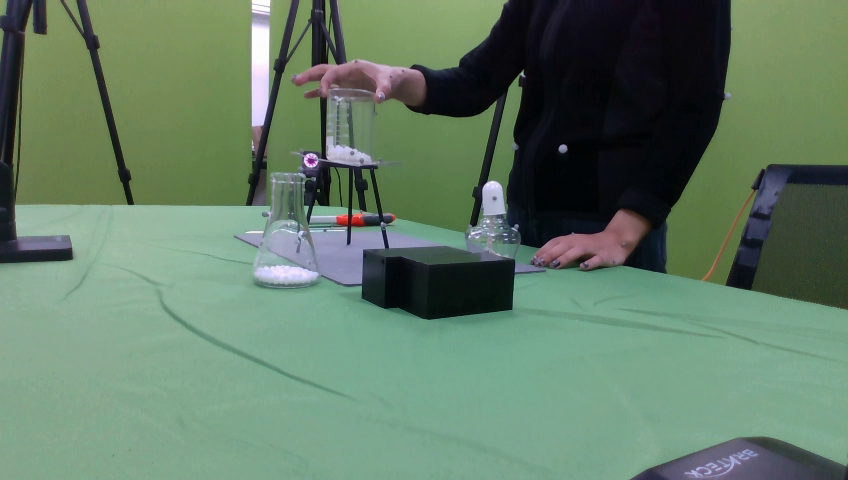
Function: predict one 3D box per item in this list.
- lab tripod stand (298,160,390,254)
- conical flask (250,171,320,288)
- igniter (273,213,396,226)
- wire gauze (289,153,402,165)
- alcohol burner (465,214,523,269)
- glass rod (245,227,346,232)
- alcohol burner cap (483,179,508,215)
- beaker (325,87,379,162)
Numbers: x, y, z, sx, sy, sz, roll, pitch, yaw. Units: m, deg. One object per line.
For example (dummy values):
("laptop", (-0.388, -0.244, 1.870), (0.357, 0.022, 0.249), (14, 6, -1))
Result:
("lab tripod stand", (-0.111, -0.050, 0.893), (0.148, 0.131, 0.148), (4, 7, 0))
("conical flask", (-0.150, -0.013, 0.658), (0.075, 0.122, 0.075), (2, 7, 0))
("igniter", (-0.179, -0.044, 1.258), (0.278, 0.025, 0.057), (-3, -1, -39))
("wire gauze", (-0.113, -0.116, 0.884), (0.124, 0.011, 0.122), (7, 7, 28))
("alcohol burner", (0.094, -0.022, 0.815), (0.078, 0.119, 0.078), (0, 7, 0))
("glass rod", (-0.236, -0.021, 1.140), (0.201, 0.008, 0.008), (-2, 8, -33))
("alcohol burner cap", (0.093, -0.057, 0.810), (0.034, 0.048, 0.034), (-7, 6, 1))
("beaker", (-0.109, -0.166, 0.883), (0.083, 0.100, 0.074), (6, 5, 38))
